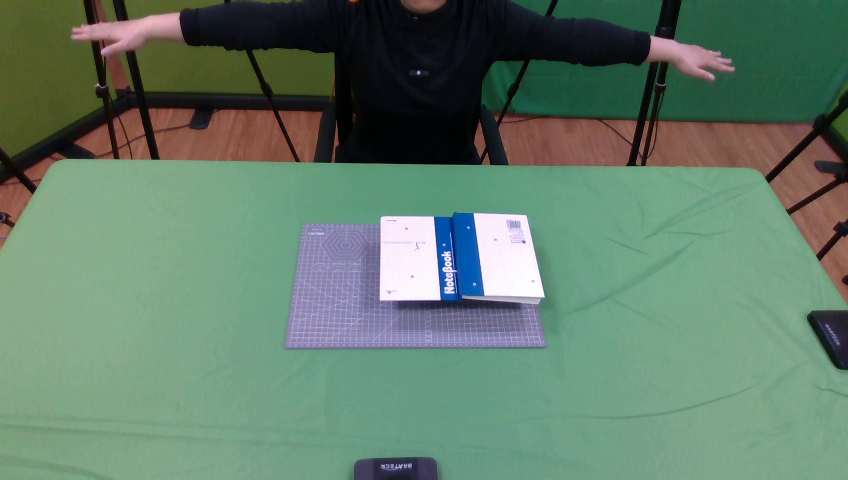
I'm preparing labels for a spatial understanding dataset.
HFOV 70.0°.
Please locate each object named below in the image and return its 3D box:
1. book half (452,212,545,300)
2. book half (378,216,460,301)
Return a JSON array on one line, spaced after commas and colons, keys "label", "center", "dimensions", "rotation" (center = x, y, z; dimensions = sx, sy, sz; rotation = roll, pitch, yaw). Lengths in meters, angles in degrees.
[{"label": "book half", "center": [0.132, 0.026, 1.116], "dimensions": [0.149, 0.016, 0.209], "rotation": [2, 45, -5]}, {"label": "book half", "center": [-0.011, 0.029, 1.110], "dimensions": [0.143, 0.007, 0.208], "rotation": [0, 46, -4]}]
